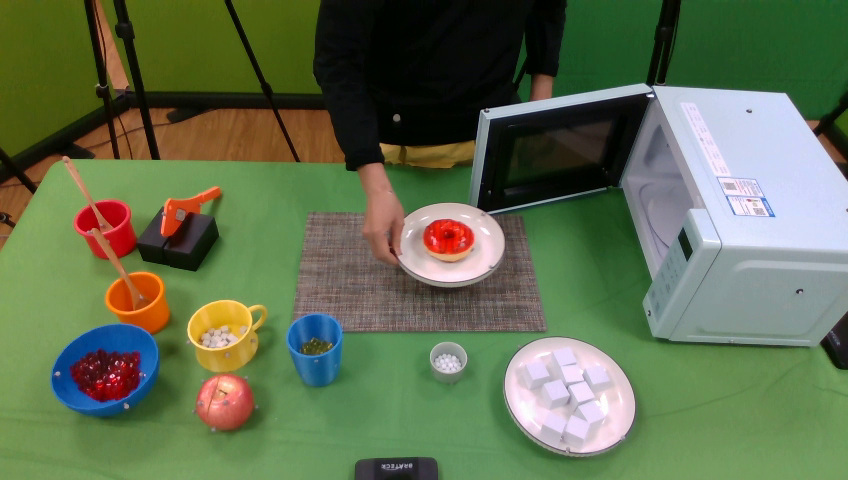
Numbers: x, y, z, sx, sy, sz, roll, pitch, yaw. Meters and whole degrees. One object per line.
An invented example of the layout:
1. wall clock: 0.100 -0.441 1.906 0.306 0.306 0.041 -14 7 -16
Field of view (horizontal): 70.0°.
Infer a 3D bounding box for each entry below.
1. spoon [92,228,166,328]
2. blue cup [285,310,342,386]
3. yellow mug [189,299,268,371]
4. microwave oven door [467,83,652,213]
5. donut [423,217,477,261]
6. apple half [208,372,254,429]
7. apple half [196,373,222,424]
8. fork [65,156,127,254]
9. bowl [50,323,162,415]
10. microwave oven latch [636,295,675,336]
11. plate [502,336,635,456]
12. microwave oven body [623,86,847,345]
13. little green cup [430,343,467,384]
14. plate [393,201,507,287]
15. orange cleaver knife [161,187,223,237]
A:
1. spoon: -0.495 0.063 1.014 0.041 0.194 0.021 -34 12 -31
2. blue cup: -0.170 0.179 0.958 0.093 0.101 0.092 1 44 -1
3. yellow mug: -0.315 0.148 1.002 0.131 0.064 0.099 -33 56 -31
4. microwave oven door: 0.267 -0.180 1.214 0.356 0.245 0.039 -13 49 -15
5. donut: 0.048 -0.002 1.110 0.099 0.048 0.098 0 44 0
6. apple half: -0.282 0.244 0.908 0.053 0.075 0.080 7 43 -1
7. apple half: -0.322 0.239 0.907 0.033 0.081 0.081 7 46 -1
8. fork: -0.614 -0.064 1.130 0.028 0.018 0.207 -29 97 -17
9. bowl: -0.472 0.209 0.924 0.151 0.077 0.150 3 45 -2
10. microwave oven latch: 0.404 0.132 1.062 0.030 0.029 0.078 -7 46 -11
11. plate: 0.225 0.248 0.963 0.208 0.039 0.206 2 46 -2
12. microwave oven body: 0.567 -0.053 1.118 0.326 0.261 0.439 2 45 -1
13. little green cup: 0.039 0.203 0.994 0.061 0.039 0.061 2 46 -2
14. plate: 0.048 0.011 1.113 0.209 0.038 0.208 -1 46 1
15. orange cleaver knife: -0.448 -0.058 1.180 0.012 0.077 0.211 13 17 6
